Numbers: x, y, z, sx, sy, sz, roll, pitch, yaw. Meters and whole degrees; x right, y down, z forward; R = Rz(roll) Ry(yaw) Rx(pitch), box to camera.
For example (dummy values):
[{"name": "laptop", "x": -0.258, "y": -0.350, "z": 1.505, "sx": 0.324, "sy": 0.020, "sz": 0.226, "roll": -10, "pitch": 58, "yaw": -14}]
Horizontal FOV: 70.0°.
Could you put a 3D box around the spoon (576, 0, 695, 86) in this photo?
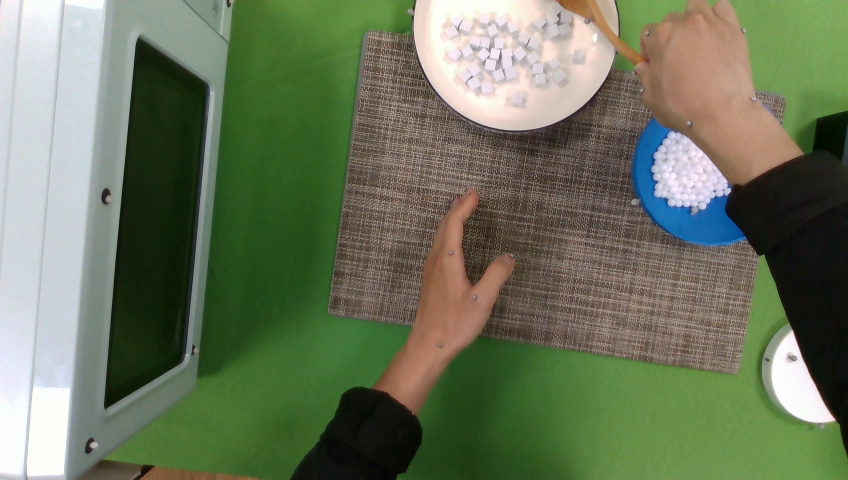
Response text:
[{"name": "spoon", "x": 0.181, "y": -0.203, "z": 0.572, "sx": 0.021, "sy": 0.042, "sz": 0.192, "roll": -34, "pitch": 65, "yaw": 0}]

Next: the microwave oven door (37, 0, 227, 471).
[{"name": "microwave oven door", "x": -0.229, "y": -0.028, "z": 0.502, "sx": 0.039, "sy": 0.243, "sz": 0.356, "roll": 6, "pitch": 93, "yaw": -1}]

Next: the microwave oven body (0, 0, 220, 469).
[{"name": "microwave oven body", "x": -0.371, "y": -0.085, "z": 0.500, "sx": 0.326, "sy": 0.259, "sz": 0.442, "roll": 6, "pitch": 94, "yaw": -2}]

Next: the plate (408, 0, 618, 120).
[{"name": "plate", "x": 0.089, "y": -0.222, "z": 0.613, "sx": 0.209, "sy": 0.038, "sz": 0.209, "roll": 0, "pitch": 91, "yaw": -2}]

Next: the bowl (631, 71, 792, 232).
[{"name": "bowl", "x": 0.272, "y": -0.085, "z": 0.607, "sx": 0.151, "sy": 0.076, "sz": 0.151, "roll": 0, "pitch": 94, "yaw": -1}]

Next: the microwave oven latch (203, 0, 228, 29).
[{"name": "microwave oven latch", "x": -0.206, "y": -0.250, "z": 0.589, "sx": 0.030, "sy": 0.029, "sz": 0.079, "roll": 6, "pitch": 94, "yaw": -2}]

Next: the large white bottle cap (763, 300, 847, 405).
[{"name": "large white bottle cap", "x": 0.428, "y": 0.123, "z": 0.659, "sx": 0.115, "sy": 0.018, "sz": 0.115, "roll": 0, "pitch": 94, "yaw": -2}]
